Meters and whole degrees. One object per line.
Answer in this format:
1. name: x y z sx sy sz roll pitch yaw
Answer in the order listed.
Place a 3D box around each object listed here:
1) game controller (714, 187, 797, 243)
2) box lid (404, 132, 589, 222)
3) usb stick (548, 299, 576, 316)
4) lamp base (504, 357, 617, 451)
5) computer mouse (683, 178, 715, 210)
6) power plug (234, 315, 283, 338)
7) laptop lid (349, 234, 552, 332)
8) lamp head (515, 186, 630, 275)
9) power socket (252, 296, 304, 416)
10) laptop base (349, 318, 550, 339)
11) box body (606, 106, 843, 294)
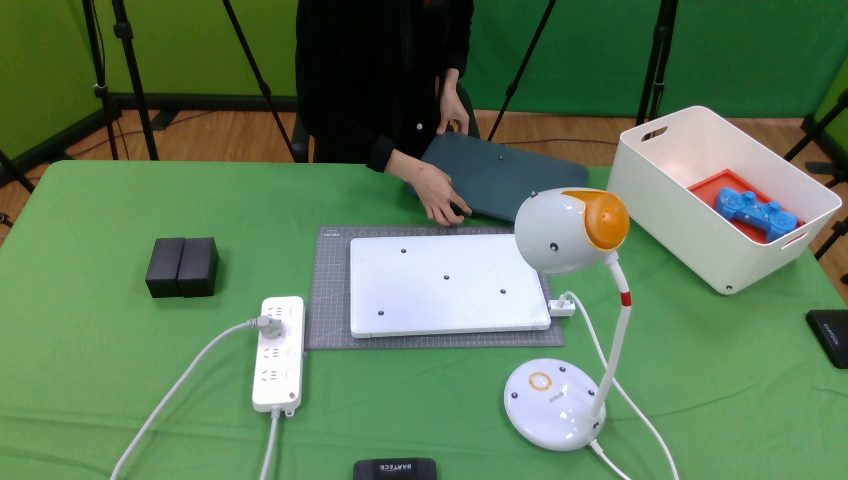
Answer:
1. game controller: 0.646 -0.057 1.183 0.154 0.052 0.097 27 54 20
2. box lid: 0.166 -0.134 1.324 0.371 0.015 0.262 15 42 12
3. usb stick: 0.239 0.121 1.084 0.059 0.027 0.021 -1 51 -1
4. lamp base: 0.220 0.211 0.903 0.160 0.181 0.178 -33 59 -30
5. computer mouse: 0.596 -0.078 1.290 0.117 0.041 0.063 56 46 -7
6. power plug: -0.269 0.143 1.000 0.072 0.053 0.035 4 47 3
7. laptop lid: 0.040 0.071 1.118 0.357 0.013 0.240 0 44 -5
8. lamp head: 0.188 -0.013 0.728 0.112 0.112 0.122 -25 9 -25
9. power socket: -0.238 0.181 0.997 0.072 0.033 0.225 -3 47 -5
10. laptop base: 0.039 0.081 1.124 0.355 0.023 0.234 -2 43 -6
11. box body: 0.582 -0.089 1.230 0.254 0.161 0.361 -22 52 -23
